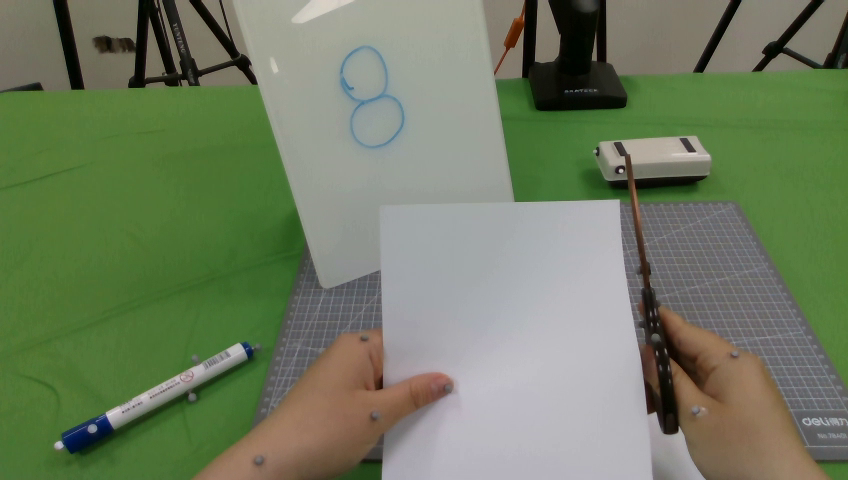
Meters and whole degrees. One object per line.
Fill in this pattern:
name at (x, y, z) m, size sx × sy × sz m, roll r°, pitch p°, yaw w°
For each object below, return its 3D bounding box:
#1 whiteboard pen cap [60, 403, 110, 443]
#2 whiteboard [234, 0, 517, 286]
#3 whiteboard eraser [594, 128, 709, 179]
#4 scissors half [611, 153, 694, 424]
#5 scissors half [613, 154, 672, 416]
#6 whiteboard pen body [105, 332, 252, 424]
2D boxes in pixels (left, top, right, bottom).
whiteboard pen cap at (-0.247, 0.133, 0.445) m, size 0.033 × 0.018 × 0.018 m, roll -29°, pitch 47°, yaw -28°
whiteboard at (-0.056, -0.148, 0.595) m, size 0.217 × 0.307 × 0.142 m, roll -20°, pitch 23°, yaw -18°
whiteboard eraser at (0.250, -0.095, 0.670) m, size 0.113 × 0.042 × 0.055 m, roll -2°, pitch 43°, yaw 0°
scissors half at (0.139, 0.025, 0.378) m, size 0.013 × 0.040 × 0.174 m, roll -14°, pitch 73°, yaw 11°
scissors half at (0.143, 0.028, 0.397) m, size 0.013 × 0.175 × 0.040 m, roll -12°, pitch 0°, yaw 6°
whiteboard pen body at (-0.200, 0.111, 0.472) m, size 0.141 × 0.017 × 0.017 m, roll -29°, pitch 47°, yaw -28°
